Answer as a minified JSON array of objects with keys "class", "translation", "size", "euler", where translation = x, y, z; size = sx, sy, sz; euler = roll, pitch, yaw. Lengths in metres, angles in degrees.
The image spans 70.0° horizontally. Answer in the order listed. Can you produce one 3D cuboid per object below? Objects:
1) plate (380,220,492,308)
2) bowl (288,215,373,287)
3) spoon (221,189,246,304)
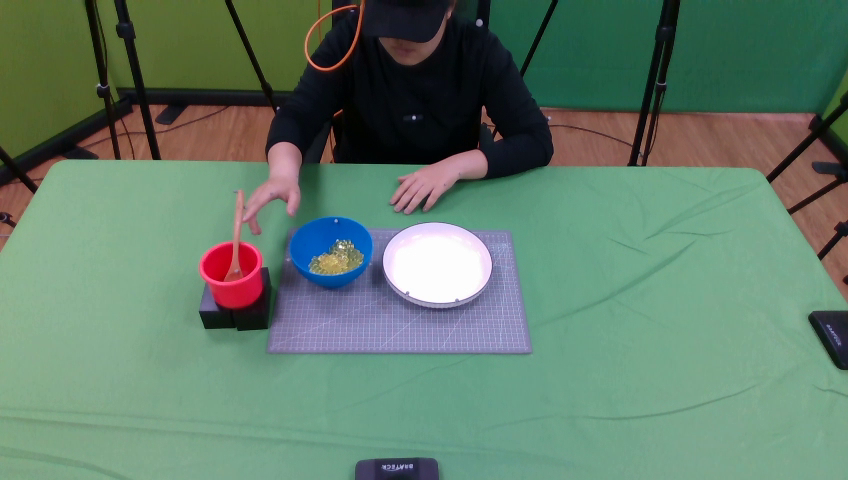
[{"class":"plate","translation":[0.022,0.048,1.137],"size":[0.208,0.039,0.206],"euler":[2,46,-2]},{"class":"bowl","translation":[-0.168,0.034,1.109],"size":[0.151,0.077,0.150],"euler":[2,46,-2]},{"class":"spoon","translation":[-0.312,0.010,1.011],"size":[0.041,0.021,0.193],"euler":[4,90,2]}]
